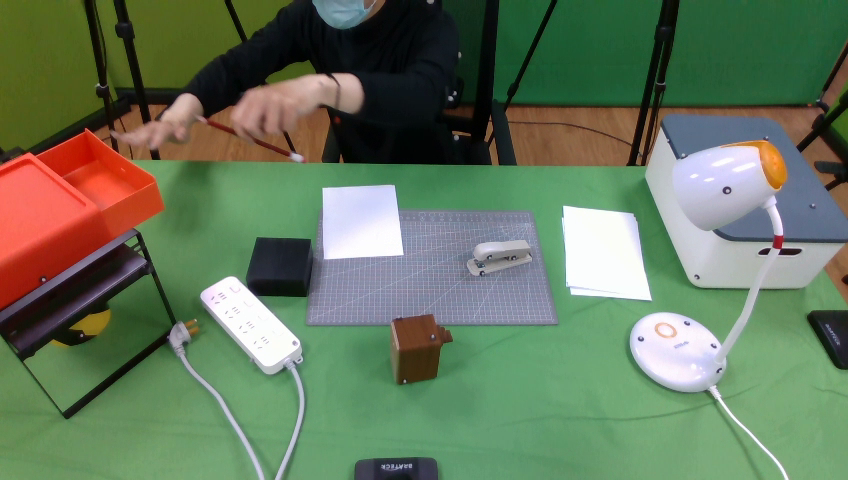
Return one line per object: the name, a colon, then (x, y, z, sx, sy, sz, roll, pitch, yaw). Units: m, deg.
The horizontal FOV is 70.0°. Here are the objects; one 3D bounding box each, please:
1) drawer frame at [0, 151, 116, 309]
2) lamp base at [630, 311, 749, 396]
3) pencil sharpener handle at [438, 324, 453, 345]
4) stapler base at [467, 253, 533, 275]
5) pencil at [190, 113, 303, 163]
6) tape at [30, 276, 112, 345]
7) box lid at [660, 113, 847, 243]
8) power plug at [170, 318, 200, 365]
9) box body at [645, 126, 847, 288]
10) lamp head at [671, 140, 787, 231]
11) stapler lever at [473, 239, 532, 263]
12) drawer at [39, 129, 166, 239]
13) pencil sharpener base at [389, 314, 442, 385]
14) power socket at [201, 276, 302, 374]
drawer frame: (-0.604, -0.012, 0.875, 0.201, 0.083, 0.213, 31, 52, 22)
lamp base: (0.447, 0.143, 0.983, 0.161, 0.181, 0.178, -24, 55, -24)
pencil sharpener handle: (0.036, 0.155, 0.975, 0.031, 0.068, 0.036, -8, 70, -11)
stapler base: (0.148, 0.034, 1.171, 0.131, 0.024, 0.041, -12, 50, -18)
pencil: (-0.264, -0.154, 0.920, 0.195, 0.012, 0.012, 21, 30, -44)
tape: (-0.594, 0.118, 1.021, 0.117, 0.053, 0.116, 3, 44, -2)
box lid: (0.628, -0.133, 1.171, 0.263, 0.015, 0.369, 1, 46, -3)
power plug: (-0.392, 0.167, 1.015, 0.052, 0.035, 0.072, -29, 93, -24)
box body: (0.625, -0.080, 1.222, 0.254, 0.161, 0.361, 0, 46, -3)
lamp head: (0.415, -0.078, 0.811, 0.113, 0.123, 0.112, 12, 70, -37)
stapler lever: (0.150, 0.017, 1.155, 0.118, 0.040, 0.026, -13, 50, -17)
drawer: (-0.547, -0.062, 0.930, 0.193, 0.073, 0.211, 32, 53, 23)
pencil sharpener base: (-0.013, 0.175, 0.971, 0.077, 0.107, 0.061, -8, 47, -11)
power socket: (-0.297, 0.141, 1.034, 0.072, 0.033, 0.225, -34, 58, -30)
